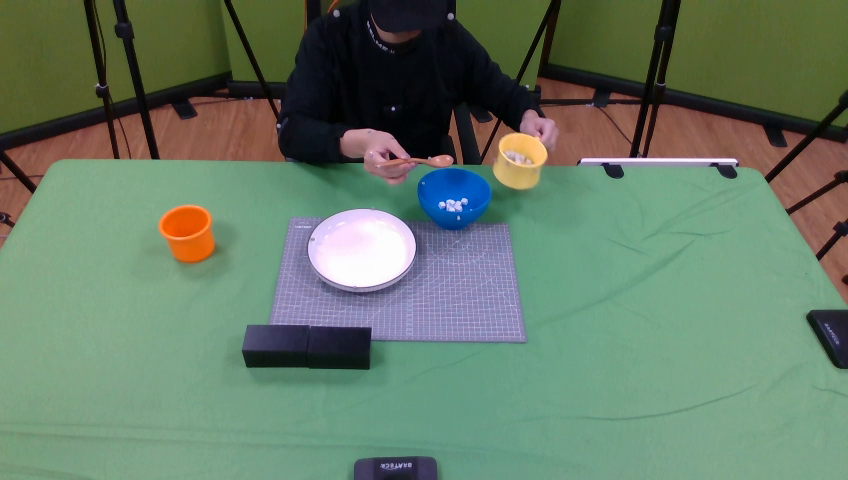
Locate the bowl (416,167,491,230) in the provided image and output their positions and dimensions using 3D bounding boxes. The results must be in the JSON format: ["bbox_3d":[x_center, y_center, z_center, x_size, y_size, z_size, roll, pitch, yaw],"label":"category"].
[{"bbox_3d":[0.057,-0.073,1.231,0.151,0.077,0.150,2,42,-2],"label":"bowl"}]

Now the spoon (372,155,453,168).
[{"bbox_3d":[-0.020,-0.149,1.148,0.194,0.022,0.041,-7,36,-43],"label":"spoon"}]

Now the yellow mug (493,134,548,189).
[{"bbox_3d":[0.208,-0.171,1.260,0.099,0.064,0.130,33,52,18],"label":"yellow mug"}]

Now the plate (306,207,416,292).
[{"bbox_3d":[-0.119,0.021,1.153,0.209,0.038,0.208,2,46,-2],"label":"plate"}]
